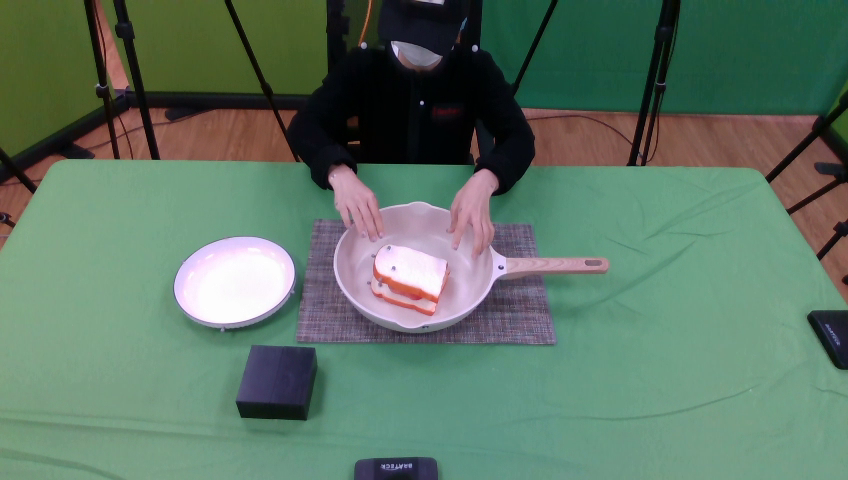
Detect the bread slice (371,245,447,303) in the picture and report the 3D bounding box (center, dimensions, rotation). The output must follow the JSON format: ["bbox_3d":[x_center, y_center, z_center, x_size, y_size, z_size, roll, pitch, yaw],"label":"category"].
[{"bbox_3d":[-0.028,0.054,1.072,0.131,0.019,0.104,18,39,-3],"label":"bread slice"}]

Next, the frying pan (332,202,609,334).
[{"bbox_3d":[0.085,0.052,1.093,0.488,0.103,0.305,-1,46,6],"label":"frying pan"}]

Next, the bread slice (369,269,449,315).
[{"bbox_3d":[-0.031,0.082,1.108,0.134,0.018,0.106,12,45,7],"label":"bread slice"}]

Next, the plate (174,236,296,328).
[{"bbox_3d":[-0.335,0.077,1.087,0.208,0.039,0.206,2,46,-2],"label":"plate"}]
